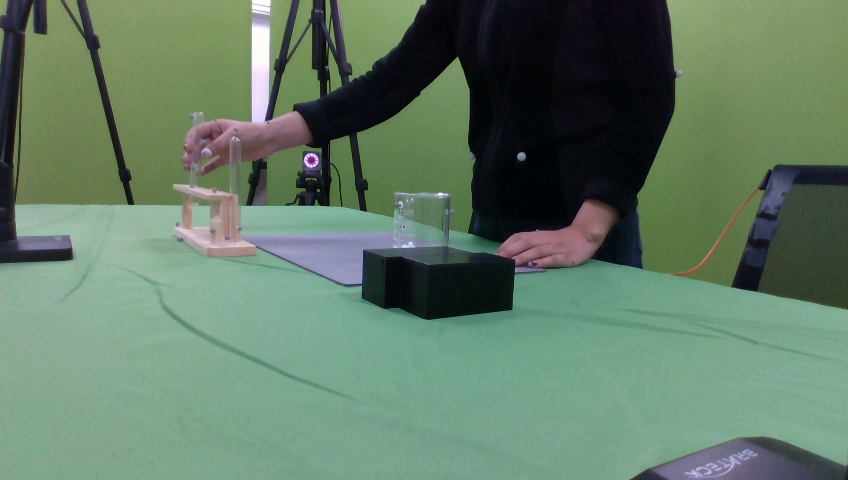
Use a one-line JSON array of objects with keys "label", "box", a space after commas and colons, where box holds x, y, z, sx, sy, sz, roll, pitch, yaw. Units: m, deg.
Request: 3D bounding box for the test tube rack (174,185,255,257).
[{"label": "test tube rack", "box": [-0.325, -0.035, 0.922, 0.067, 0.085, 0.241, -2, 9, -32]}]

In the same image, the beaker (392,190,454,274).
[{"label": "beaker", "box": [-0.005, -0.011, 0.759, 0.074, 0.100, 0.083, -2, 8, -32]}]

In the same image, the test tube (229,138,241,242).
[{"label": "test tube", "box": [-0.271, -0.071, 0.865, 0.017, 0.150, 0.017, 2, 8, 0]}]

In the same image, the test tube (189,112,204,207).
[{"label": "test tube", "box": [-0.357, -0.127, 0.950, 0.017, 0.150, 0.017, 2, -2, 0]}]
